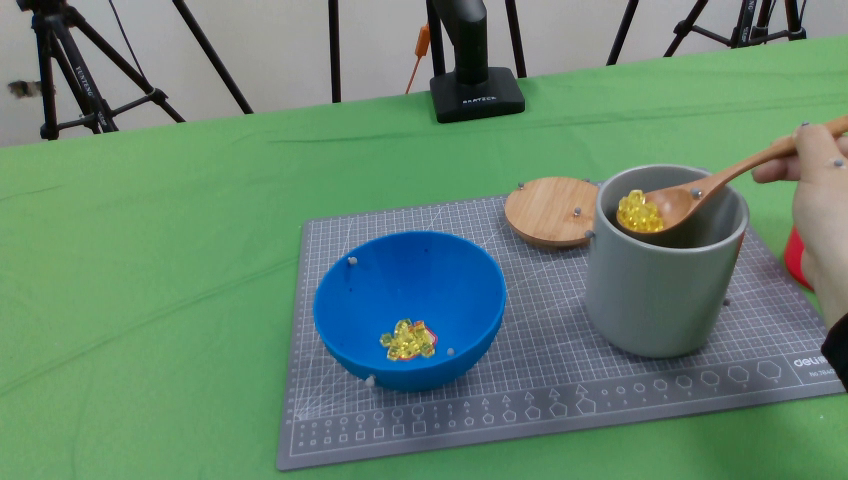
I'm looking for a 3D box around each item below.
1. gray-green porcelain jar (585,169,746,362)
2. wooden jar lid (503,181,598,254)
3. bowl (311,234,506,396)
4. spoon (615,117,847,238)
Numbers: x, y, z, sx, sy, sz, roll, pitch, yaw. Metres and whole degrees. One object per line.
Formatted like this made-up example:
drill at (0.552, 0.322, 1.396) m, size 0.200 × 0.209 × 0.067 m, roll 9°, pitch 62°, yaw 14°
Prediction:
gray-green porcelain jar at (0.183, 0.025, 0.479) m, size 0.106 × 0.128 × 0.105 m, roll -4°, pitch 41°, yaw 4°
wooden jar lid at (0.137, -0.022, 0.625) m, size 0.108 × 0.021 × 0.107 m, roll -4°, pitch 39°, yaw 4°
bowl at (-0.009, 0.073, 0.489) m, size 0.151 × 0.077 × 0.150 m, roll -4°, pitch 41°, yaw 4°
spoon at (0.230, -0.048, 0.427) m, size 0.193 × 0.022 × 0.041 m, roll -28°, pitch 37°, yaw 21°
